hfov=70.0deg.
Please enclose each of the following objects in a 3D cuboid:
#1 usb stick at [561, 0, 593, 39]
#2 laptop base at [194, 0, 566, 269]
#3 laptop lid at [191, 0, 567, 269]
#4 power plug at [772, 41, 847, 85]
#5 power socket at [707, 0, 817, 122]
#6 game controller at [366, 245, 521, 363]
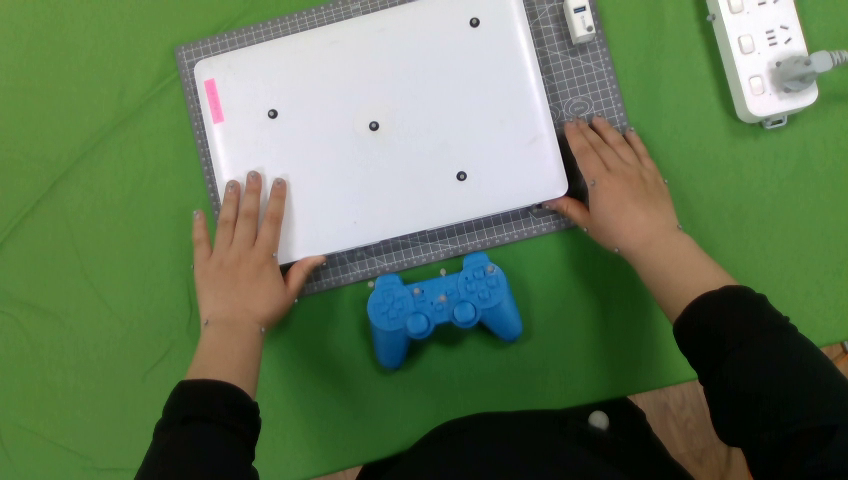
[{"bbox_3d":[0.154,-0.240,0.619,0.021,0.027,0.059,-15,84,7],"label":"usb stick"},{"bbox_3d":[-0.050,-0.123,0.639,0.354,0.023,0.235,-14,91,4],"label":"laptop base"},{"bbox_3d":[-0.052,-0.121,0.621,0.356,0.013,0.241,-12,86,4],"label":"laptop lid"},{"bbox_3d":[0.372,-0.167,0.580,0.072,0.053,0.035,-2,87,0],"label":"power plug"},{"bbox_3d":[0.327,-0.231,0.604,0.072,0.032,0.226,-13,87,5],"label":"power socket"},{"bbox_3d":[0.016,0.064,0.617,0.155,0.052,0.097,-14,83,4],"label":"game controller"}]
